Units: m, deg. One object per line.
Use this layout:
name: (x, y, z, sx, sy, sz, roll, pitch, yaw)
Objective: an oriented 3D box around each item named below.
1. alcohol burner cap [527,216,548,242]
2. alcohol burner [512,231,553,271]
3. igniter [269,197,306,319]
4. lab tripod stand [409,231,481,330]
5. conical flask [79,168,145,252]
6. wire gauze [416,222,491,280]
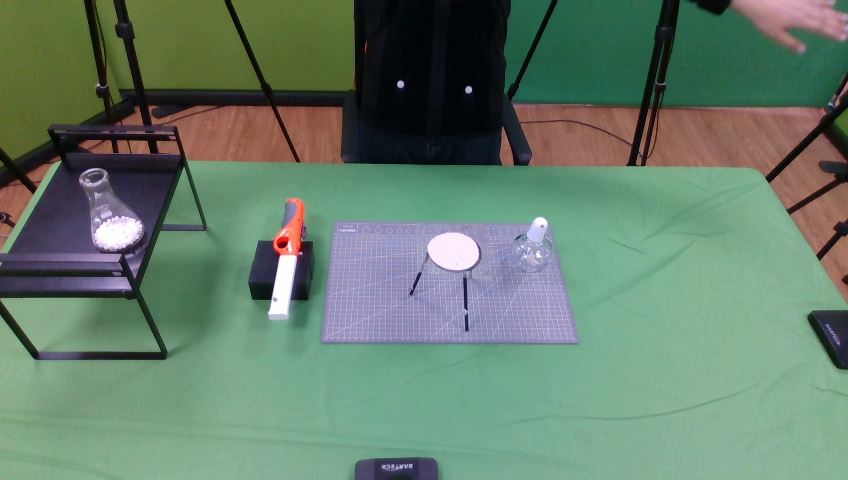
alcohol burner cap: (0.212, -0.023, 1.119, 0.034, 0.048, 0.033, 8, 46, -8)
alcohol burner: (0.208, 0.002, 1.145, 0.078, 0.119, 0.077, 3, 44, -3)
igniter: (-0.246, 0.023, 1.087, 0.057, 0.025, 0.274, -1, 49, -2)
lab tripod stand: (0.051, 0.064, 1.059, 0.148, 0.132, 0.147, 3, 46, -3)
conical flask: (-0.463, -0.048, 0.888, 0.075, 0.122, 0.075, 2, 46, -2)
wire gauze: (0.048, 0.014, 1.013, 0.125, 0.011, 0.120, 3, 47, -3)
